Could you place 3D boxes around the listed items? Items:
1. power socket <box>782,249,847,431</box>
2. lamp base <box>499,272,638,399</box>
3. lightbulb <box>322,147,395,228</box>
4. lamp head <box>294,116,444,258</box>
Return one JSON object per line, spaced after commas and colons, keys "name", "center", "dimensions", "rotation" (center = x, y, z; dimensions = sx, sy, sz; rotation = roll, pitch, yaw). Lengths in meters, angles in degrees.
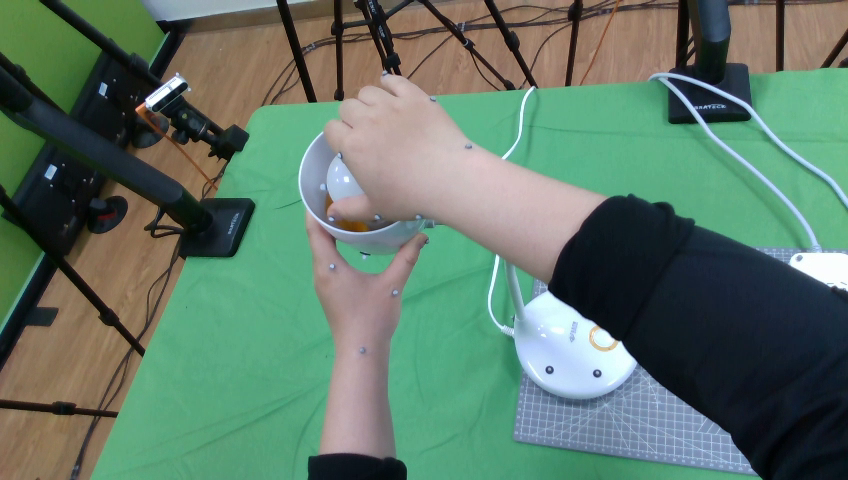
{"name": "power socket", "center": [0.477, 0.109, 0.716], "dimensions": [0.072, 0.033, 0.225], "rotation": [1, 58, 18]}
{"name": "lamp base", "center": [0.164, 0.092, 0.741], "dimensions": [0.178, 0.182, 0.159], "rotation": [-5, 57, 19]}
{"name": "lightbulb", "center": [-0.051, -0.038, 0.516], "dimensions": [0.059, 0.108, 0.059], "rotation": [-2, 71, 6]}
{"name": "lamp head", "center": [-0.041, -0.033, 0.540], "dimensions": [0.112, 0.124, 0.111], "rotation": [-4, 67, 11]}
